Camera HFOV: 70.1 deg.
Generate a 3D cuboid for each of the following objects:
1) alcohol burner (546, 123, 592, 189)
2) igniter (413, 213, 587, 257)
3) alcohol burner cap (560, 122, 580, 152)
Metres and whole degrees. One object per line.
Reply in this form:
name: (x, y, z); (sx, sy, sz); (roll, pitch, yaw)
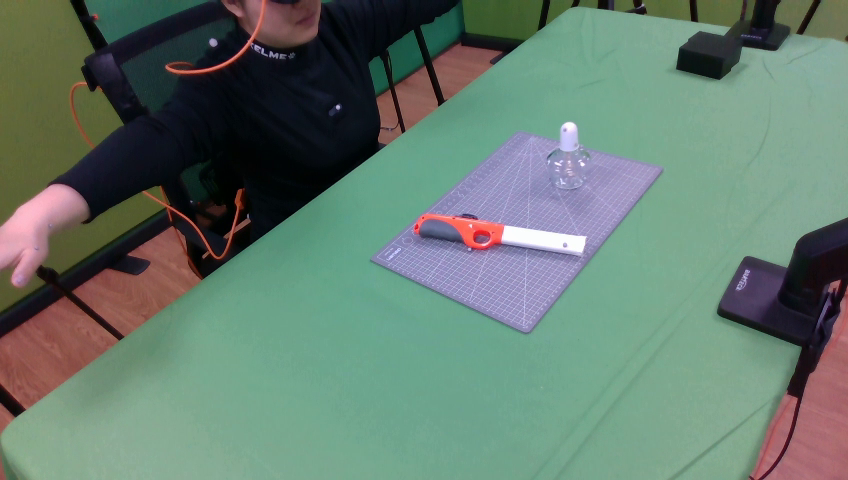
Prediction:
alcohol burner: (0.248, -0.147, 1.034); (0.078, 0.120, 0.077); (-7, 41, 6)
igniter: (0.116, -0.009, 0.959); (0.275, 0.025, 0.057); (8, 65, 17)
alcohol burner cap: (0.244, -0.174, 1.010); (0.034, 0.048, 0.033); (-8, 40, 7)
